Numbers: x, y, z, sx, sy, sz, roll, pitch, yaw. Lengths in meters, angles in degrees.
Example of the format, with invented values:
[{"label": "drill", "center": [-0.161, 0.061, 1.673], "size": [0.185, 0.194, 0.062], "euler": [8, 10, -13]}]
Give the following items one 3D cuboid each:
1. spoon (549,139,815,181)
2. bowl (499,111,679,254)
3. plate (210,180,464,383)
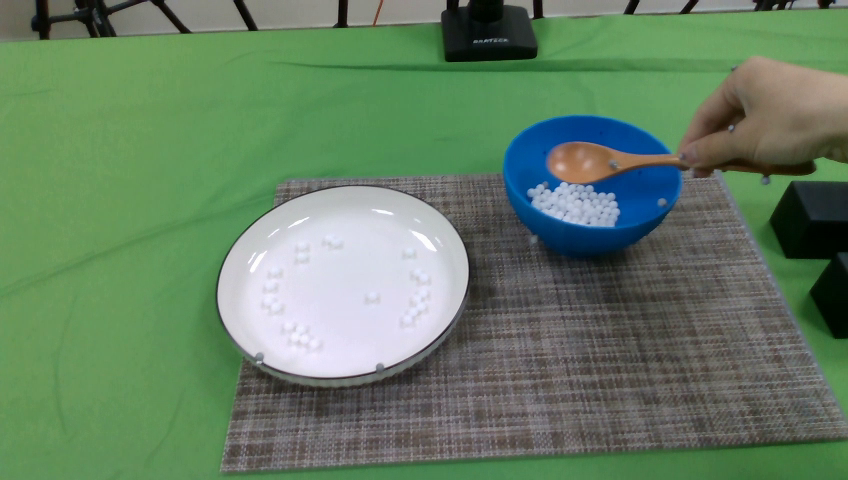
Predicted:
[{"label": "spoon", "center": [0.184, -0.061, 0.461], "size": [0.192, 0.022, 0.041], "euler": [7, 62, 41]}, {"label": "bowl", "center": [0.140, -0.041, 0.546], "size": [0.151, 0.077, 0.150], "euler": [0, 48, 1]}, {"label": "plate", "center": [-0.070, 0.032, 0.512], "size": [0.208, 0.039, 0.205], "euler": [0, 48, 1]}]
